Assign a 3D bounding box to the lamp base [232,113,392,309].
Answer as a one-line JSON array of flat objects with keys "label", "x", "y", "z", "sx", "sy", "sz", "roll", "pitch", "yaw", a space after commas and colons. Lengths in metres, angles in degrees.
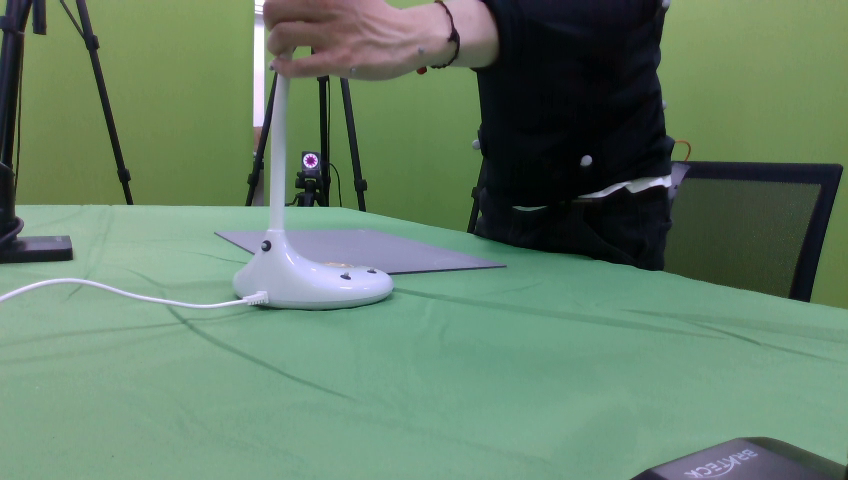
[{"label": "lamp base", "x": -0.113, "y": -0.031, "z": 0.594, "sx": 0.160, "sy": 0.180, "sz": 0.179, "roll": 4, "pitch": 10, "yaw": 18}]
